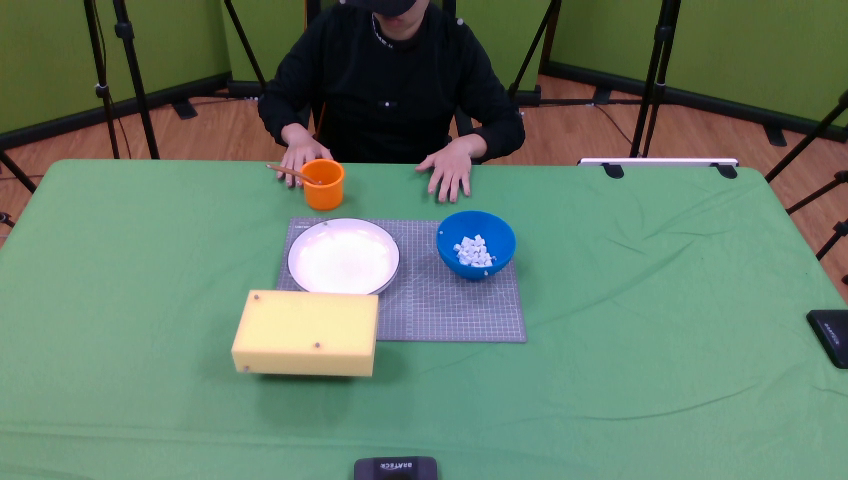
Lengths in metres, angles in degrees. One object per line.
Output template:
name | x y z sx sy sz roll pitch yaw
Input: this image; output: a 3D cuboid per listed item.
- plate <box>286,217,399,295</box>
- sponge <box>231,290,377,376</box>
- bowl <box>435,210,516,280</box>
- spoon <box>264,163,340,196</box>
plate | -0.150 0.041 1.131 0.209 0.038 0.208 2 45 -2
sponge | -0.180 0.144 0.949 0.207 0.061 0.117 2 46 -2
bowl | 0.093 0.022 1.141 0.151 0.077 0.150 2 46 -2
spoon | -0.241 -0.123 1.211 0.021 0.195 0.041 -49 54 13
